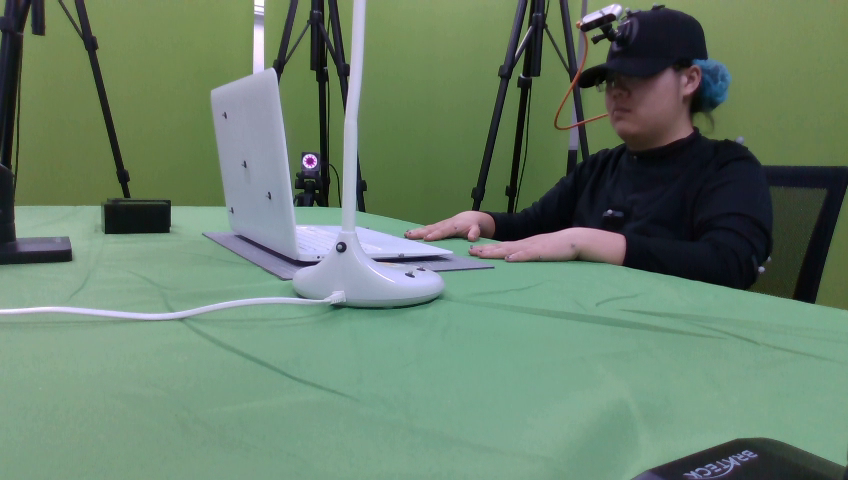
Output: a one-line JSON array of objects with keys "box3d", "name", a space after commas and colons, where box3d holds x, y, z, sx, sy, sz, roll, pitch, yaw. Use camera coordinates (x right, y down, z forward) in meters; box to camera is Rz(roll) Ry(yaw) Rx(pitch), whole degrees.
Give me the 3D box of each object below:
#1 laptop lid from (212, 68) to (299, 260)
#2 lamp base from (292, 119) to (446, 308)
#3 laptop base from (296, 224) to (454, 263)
[{"box3d": [-0.254, -0.110, 0.872, 0.013, 0.241, 0.355, -11, 14, -30], "name": "laptop lid"}, {"box3d": [-0.056, -0.030, 0.616, 0.160, 0.180, 0.179, 3, 10, 8], "name": "lamp base"}, {"box3d": [-0.143, 0.004, 0.957, 0.237, 0.023, 0.352, 2, 7, -32], "name": "laptop base"}]
